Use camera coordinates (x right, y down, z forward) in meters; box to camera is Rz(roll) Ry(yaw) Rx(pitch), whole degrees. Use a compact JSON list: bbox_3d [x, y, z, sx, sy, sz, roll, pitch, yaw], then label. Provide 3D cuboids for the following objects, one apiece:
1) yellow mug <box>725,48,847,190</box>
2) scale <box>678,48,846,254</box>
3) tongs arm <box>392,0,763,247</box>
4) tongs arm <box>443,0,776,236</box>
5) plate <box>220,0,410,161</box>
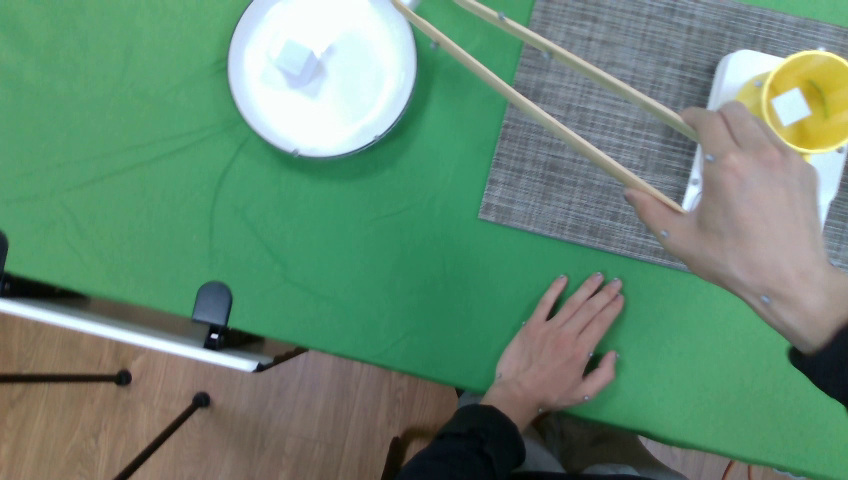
[{"bbox_3d":[0.364,-0.115,0.603,0.100,0.064,0.130,4,90,2],"label":"yellow mug"},{"bbox_3d":[0.366,-0.095,0.649,0.148,0.031,0.200,14,89,3],"label":"scale"},{"bbox_3d":[0.096,-0.111,0.497,0.028,0.028,0.384,-46,62,0],"label":"tongs arm"},{"bbox_3d":[0.111,-0.128,0.495,0.381,0.027,0.051,39,92,29],"label":"tongs arm"},{"bbox_3d":[-0.118,-0.188,0.673,0.207,0.039,0.207,0,88,2],"label":"plate"}]
